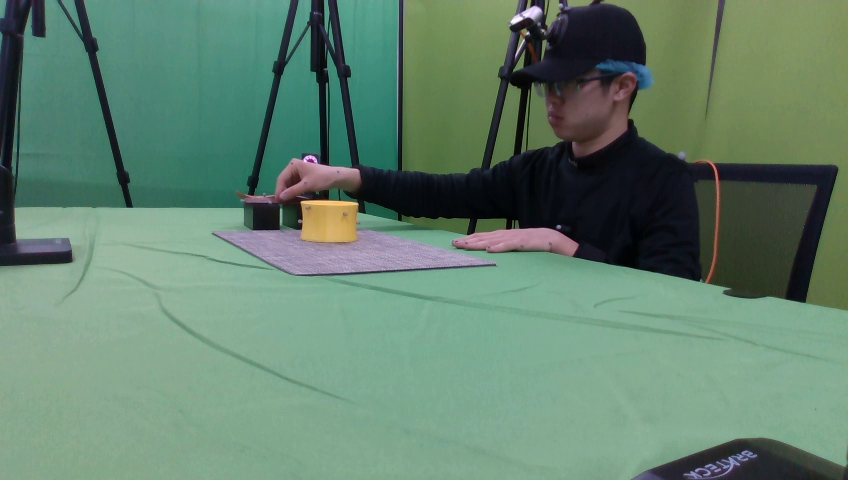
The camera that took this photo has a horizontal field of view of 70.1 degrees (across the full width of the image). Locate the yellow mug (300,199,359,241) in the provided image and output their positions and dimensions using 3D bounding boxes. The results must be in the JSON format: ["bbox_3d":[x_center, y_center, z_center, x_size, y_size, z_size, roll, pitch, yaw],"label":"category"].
[{"bbox_3d":[-0.156,-0.036,1.060,0.099,0.064,0.131,6,7,27],"label":"yellow mug"}]

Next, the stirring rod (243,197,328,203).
[{"bbox_3d":[-0.271,-0.079,1.201,0.177,0.006,0.014,-3,47,-35],"label":"stirring rod"}]

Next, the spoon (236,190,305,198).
[{"bbox_3d":[-0.290,-0.088,1.248,0.195,0.021,0.041,0,8,-32],"label":"spoon"}]
